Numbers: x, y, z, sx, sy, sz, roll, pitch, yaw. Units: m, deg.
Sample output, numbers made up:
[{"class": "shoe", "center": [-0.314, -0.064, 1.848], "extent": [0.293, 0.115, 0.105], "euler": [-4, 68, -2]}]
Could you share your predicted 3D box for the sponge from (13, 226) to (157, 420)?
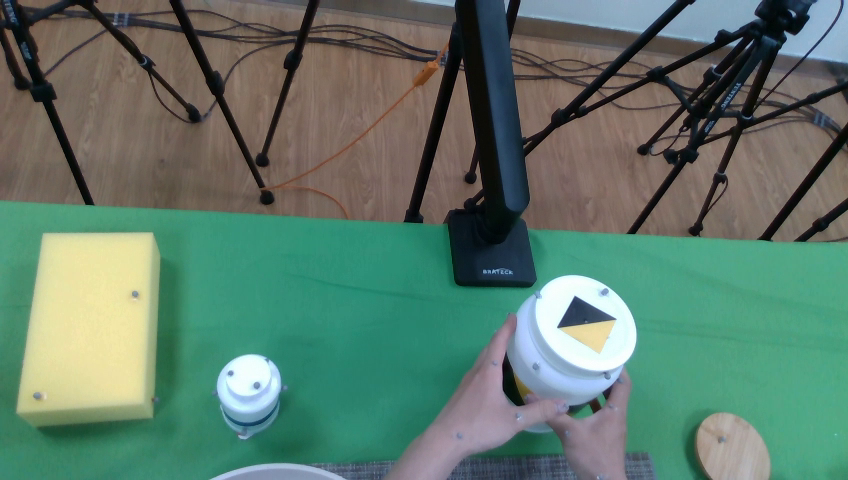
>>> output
[{"class": "sponge", "center": [-0.369, 0.087, 0.676], "extent": [0.118, 0.061, 0.205], "euler": [-2, 63, -17]}]

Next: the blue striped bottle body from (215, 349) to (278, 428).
[{"class": "blue striped bottle body", "center": [-0.190, 0.158, 0.652], "extent": [0.063, 0.121, 0.062], "euler": [7, 60, -11]}]

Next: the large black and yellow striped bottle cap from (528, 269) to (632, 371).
[{"class": "large black and yellow striped bottle cap", "center": [0.169, 0.084, 0.654], "extent": [0.115, 0.019, 0.114], "euler": [7, 57, -10]}]

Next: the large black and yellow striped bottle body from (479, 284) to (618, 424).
[{"class": "large black and yellow striped bottle body", "center": [0.150, 0.130, 0.722], "extent": [0.131, 0.185, 0.129], "euler": [7, 56, -10]}]

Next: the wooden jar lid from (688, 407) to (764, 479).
[{"class": "wooden jar lid", "center": [0.401, 0.279, 0.810], "extent": [0.109, 0.021, 0.107], "euler": [7, 61, -12]}]

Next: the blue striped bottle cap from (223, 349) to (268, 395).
[{"class": "blue striped bottle cap", "center": [-0.179, 0.132, 0.609], "extent": [0.045, 0.021, 0.044], "euler": [7, 61, -12]}]

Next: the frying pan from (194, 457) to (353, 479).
[{"class": "frying pan", "center": [-0.139, 0.443, 0.512], "extent": [0.308, 0.103, 0.482], "euler": [1, 53, -12]}]
